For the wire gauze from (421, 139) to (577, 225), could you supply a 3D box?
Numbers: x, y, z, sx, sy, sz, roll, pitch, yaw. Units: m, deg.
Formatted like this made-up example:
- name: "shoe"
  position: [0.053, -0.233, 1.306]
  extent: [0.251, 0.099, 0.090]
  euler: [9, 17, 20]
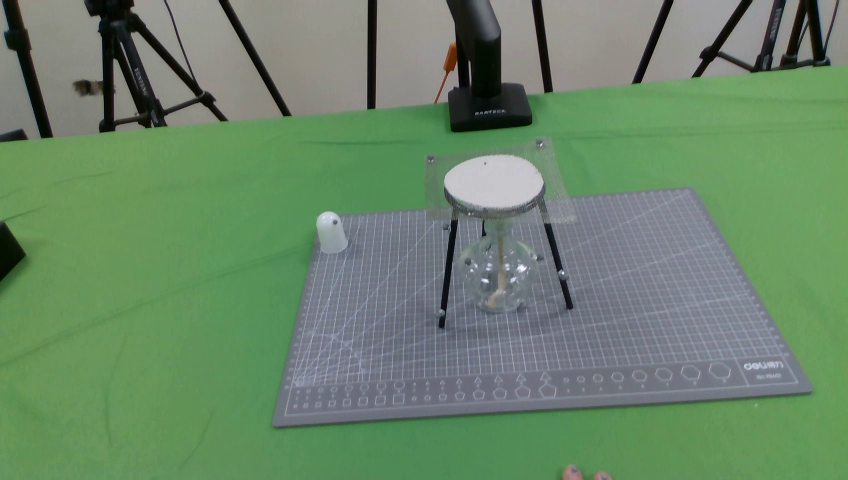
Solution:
- name: "wire gauze"
  position: [0.060, -0.051, 0.530]
  extent: [0.125, 0.011, 0.120]
  euler: [-3, 39, 2]

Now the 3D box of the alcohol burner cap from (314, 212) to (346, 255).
- name: "alcohol burner cap"
  position: [-0.108, -0.010, 0.685]
  extent: [0.034, 0.048, 0.033]
  euler: [-3, 40, 3]

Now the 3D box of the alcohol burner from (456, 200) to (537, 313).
- name: "alcohol burner"
  position: [0.069, 0.011, 0.576]
  extent: [0.078, 0.120, 0.077]
  euler: [-2, 39, 2]

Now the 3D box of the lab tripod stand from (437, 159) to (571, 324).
- name: "lab tripod stand"
  position: [0.069, 0.002, 0.572]
  extent: [0.148, 0.133, 0.147]
  euler: [-3, 38, 2]
